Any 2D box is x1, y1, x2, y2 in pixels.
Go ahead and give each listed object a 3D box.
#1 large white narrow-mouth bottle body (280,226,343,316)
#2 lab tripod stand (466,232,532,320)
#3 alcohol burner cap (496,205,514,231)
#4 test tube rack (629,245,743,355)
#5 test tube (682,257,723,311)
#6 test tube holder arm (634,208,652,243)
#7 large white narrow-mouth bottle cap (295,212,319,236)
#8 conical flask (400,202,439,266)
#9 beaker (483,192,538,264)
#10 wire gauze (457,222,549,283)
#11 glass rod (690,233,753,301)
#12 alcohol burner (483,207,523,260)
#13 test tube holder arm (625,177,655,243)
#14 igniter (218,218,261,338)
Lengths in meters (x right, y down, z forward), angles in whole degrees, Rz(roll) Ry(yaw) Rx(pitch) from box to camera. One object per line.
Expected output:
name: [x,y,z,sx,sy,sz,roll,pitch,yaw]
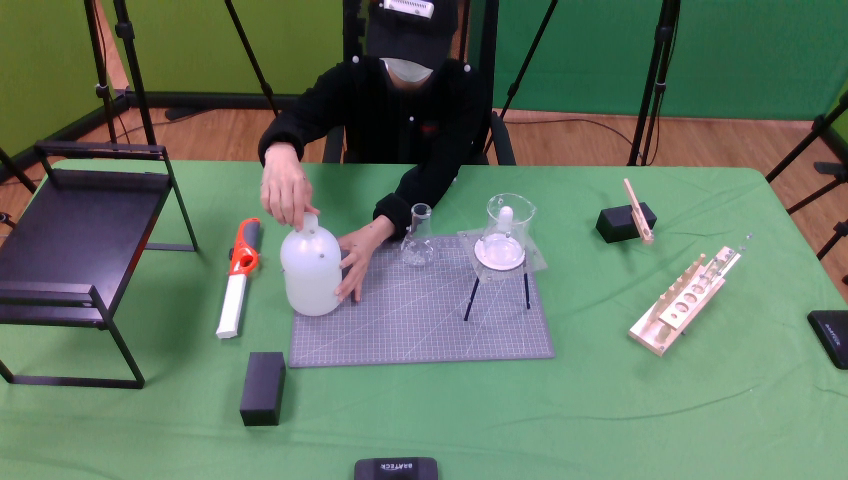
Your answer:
large white narrow-mouth bottle body: [-0.191,0.035,1.024,0.102,0.195,0.101,2,46,-2]
lab tripod stand: [0.125,0.059,1.065,0.148,0.132,0.147,1,45,0]
alcohol burner cap: [0.153,-0.045,1.131,0.034,0.048,0.033,2,40,-1]
test tube rack: [0.474,0.095,1.091,0.242,0.085,0.066,-34,56,-31]
test tube: [0.474,0.080,1.037,0.017,0.151,0.017,1,50,-1]
test tube holder arm: [0.428,-0.030,1.189,0.010,0.015,0.087,2,47,-3]
large white narrow-mouth bottle cap: [-0.185,-0.026,0.959,0.038,0.024,0.037,2,46,-2]
conical flask: [-0.007,-0.014,1.135,0.075,0.122,0.075,2,46,-2]
beaker: [0.136,-0.017,0.980,0.084,0.101,0.073,-6,45,-9]
wire gauze: [0.131,0.016,1.017,0.121,0.011,0.124,-10,44,-15]
glass rod: [0.507,0.053,1.041,0.008,0.200,0.008,5,51,-6]
alcohol burner: [0.152,-0.018,1.156,0.078,0.120,0.077,0,47,0]
test tube holder arm: [0.433,-0.063,1.220,0.013,0.015,0.177,1,47,-3]
igniter: [-0.336,0.060,1.111,0.057,0.025,0.274,-7,46,4]
